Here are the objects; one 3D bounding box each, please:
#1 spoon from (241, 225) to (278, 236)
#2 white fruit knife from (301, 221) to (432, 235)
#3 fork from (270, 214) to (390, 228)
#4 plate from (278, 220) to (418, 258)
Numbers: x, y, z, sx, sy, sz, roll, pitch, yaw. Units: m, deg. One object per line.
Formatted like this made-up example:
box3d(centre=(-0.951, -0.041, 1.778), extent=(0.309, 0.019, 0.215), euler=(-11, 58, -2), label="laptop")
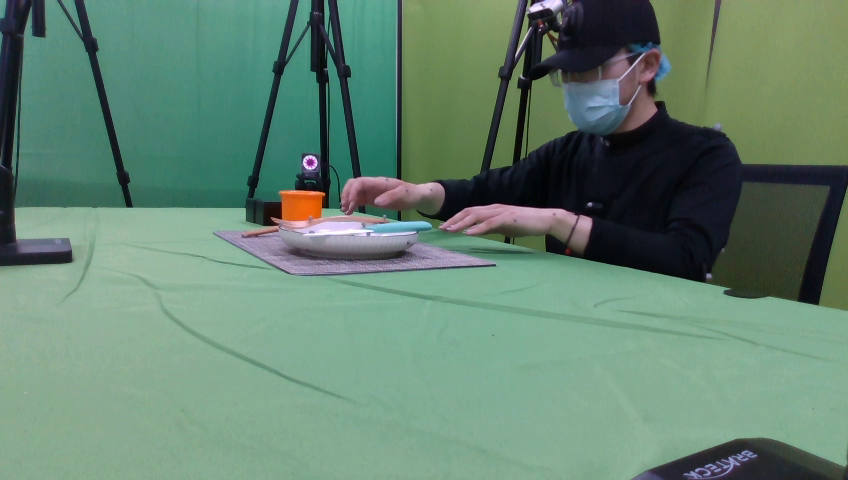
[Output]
box3d(centre=(-0.232, -0.021, 1.082), extent=(0.195, 0.021, 0.041), euler=(-3, 27, -37), label="spoon")
box3d(centre=(-0.079, -0.016, 0.858), extent=(0.208, 0.016, 0.027), euler=(-4, 12, -38), label="white fruit knife")
box3d(centre=(-0.143, -0.031, 0.963), extent=(0.208, 0.018, 0.028), euler=(-4, 20, -35), label="fork")
box3d(centre=(-0.114, -0.002, 0.914), extent=(0.209, 0.038, 0.209), euler=(2, 7, 0), label="plate")
